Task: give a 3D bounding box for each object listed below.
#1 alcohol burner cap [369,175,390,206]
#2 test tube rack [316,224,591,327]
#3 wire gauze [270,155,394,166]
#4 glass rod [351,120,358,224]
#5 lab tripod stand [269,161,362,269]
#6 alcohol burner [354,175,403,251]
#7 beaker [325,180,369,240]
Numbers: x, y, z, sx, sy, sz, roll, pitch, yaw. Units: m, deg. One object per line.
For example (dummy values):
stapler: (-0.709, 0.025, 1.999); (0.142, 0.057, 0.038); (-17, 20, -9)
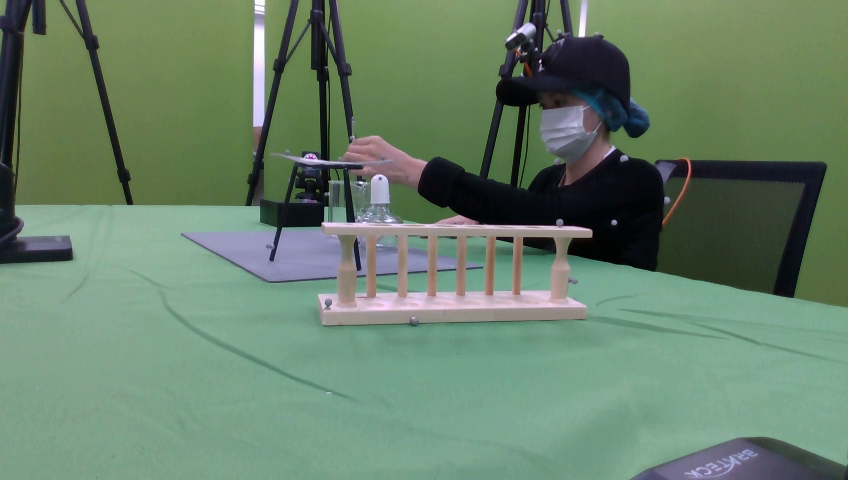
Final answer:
alcohol burner cap: (-0.069, -0.077, 0.939); (0.034, 0.048, 0.034); (0, 7, 0)
test tube rack: (0.026, 0.028, 0.555); (0.243, 0.085, 0.066); (1, 7, -14)
wire gauze: (-0.122, -0.102, 0.785); (0.122, 0.011, 0.124); (-3, 10, -39)
glass rod: (-0.122, -0.109, 1.058); (0.008, 0.199, 0.008); (-1, 9, 0)
lab tripod stand: (-0.125, -0.036, 0.794); (0.148, 0.131, 0.148); (5, 7, 0)
alcohol burner: (-0.072, -0.042, 0.944); (0.078, 0.119, 0.078); (1, 9, 0)
beaker: (-0.133, -0.052, 1.058); (0.074, 0.100, 0.083); (-3, 10, -36)
